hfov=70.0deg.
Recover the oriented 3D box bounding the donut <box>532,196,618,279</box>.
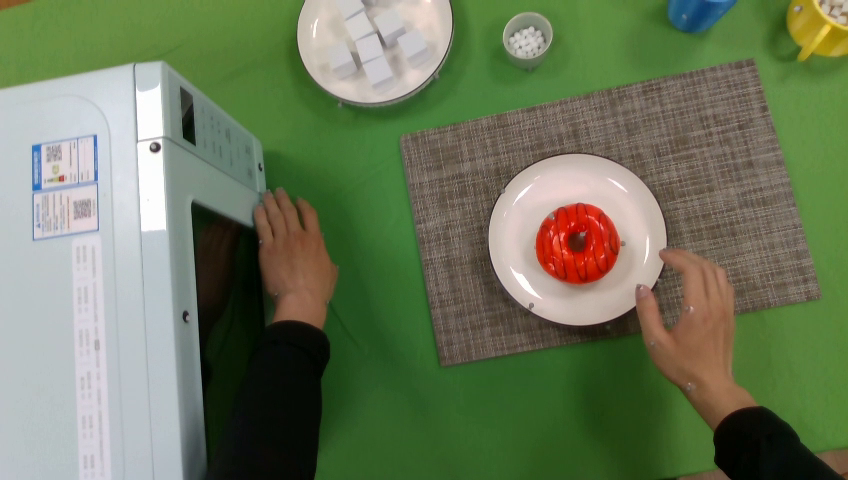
[{"bbox_3d":[0.176,-0.002,0.712,0.099,0.048,0.099,-1,85,7],"label":"donut"}]

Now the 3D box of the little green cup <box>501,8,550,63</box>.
[{"bbox_3d":[0.128,-0.257,0.770,0.061,0.039,0.061,-1,82,8],"label":"little green cup"}]

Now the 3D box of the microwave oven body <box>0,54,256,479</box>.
[{"bbox_3d":[-0.361,0.076,0.669,0.326,0.261,0.440,-8,81,6],"label":"microwave oven body"}]

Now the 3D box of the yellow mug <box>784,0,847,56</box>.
[{"bbox_3d":[0.481,-0.272,0.712,0.099,0.064,0.131,37,89,11],"label":"yellow mug"}]

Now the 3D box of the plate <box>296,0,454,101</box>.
[{"bbox_3d":[-0.062,-0.278,0.797,0.207,0.039,0.207,-1,82,7],"label":"plate"}]

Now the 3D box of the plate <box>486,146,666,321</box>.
[{"bbox_3d":[0.178,-0.008,0.724,0.209,0.038,0.208,-1,82,7],"label":"plate"}]

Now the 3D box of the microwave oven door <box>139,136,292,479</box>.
[{"bbox_3d":[-0.213,0.095,0.641,0.039,0.245,0.354,-9,81,6],"label":"microwave oven door"}]

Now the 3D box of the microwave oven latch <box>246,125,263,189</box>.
[{"bbox_3d":[-0.225,-0.104,0.775,0.030,0.029,0.079,-7,82,6],"label":"microwave oven latch"}]

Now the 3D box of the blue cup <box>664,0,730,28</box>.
[{"bbox_3d":[0.329,-0.303,0.719,0.092,0.100,0.092,-1,83,6],"label":"blue cup"}]
